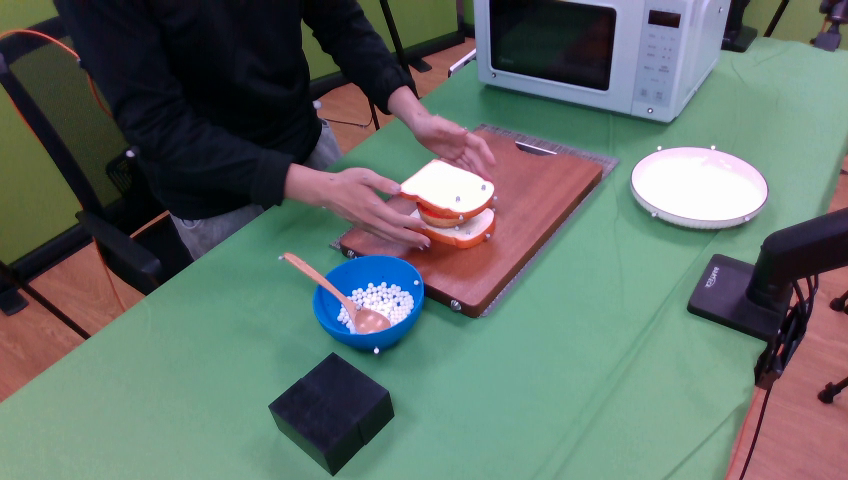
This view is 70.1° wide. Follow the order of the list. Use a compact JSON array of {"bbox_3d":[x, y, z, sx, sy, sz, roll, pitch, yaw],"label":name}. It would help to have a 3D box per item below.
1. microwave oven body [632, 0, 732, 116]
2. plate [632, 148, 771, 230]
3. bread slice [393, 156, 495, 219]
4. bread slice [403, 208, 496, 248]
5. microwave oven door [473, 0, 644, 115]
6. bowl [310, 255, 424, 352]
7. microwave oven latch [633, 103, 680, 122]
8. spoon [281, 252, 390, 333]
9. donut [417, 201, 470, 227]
[{"bbox_3d":[0.377,-0.462,1.267,0.438,0.261,0.327,21,49,30],"label":"microwave oven body"},{"bbox_3d":[0.447,-0.081,0.988,0.207,0.039,0.206,-4,40,4],"label":"plate"},{"bbox_3d":[0.038,-0.078,0.920,0.133,0.018,0.107,24,48,24],"label":"bread slice"},{"bbox_3d":[0.048,-0.034,0.960,0.130,0.019,0.105,22,49,31],"label":"bread slice"},{"bbox_3d":[0.257,-0.396,1.199,0.353,0.245,0.039,21,48,29],"label":"microwave oven door"},{"bbox_3d":[-0.071,0.098,0.821,0.151,0.077,0.150,-4,40,4],"label":"bowl"},{"bbox_3d":[0.444,-0.249,1.157,0.078,0.029,0.030,21,49,30],"label":"microwave oven latch"},{"bbox_3d":[-0.122,0.070,0.811,0.193,0.022,0.042,38,63,16],"label":"spoon"},{"bbox_3d":[0.038,-0.059,0.942,0.099,0.048,0.098,-4,42,4],"label":"donut"}]
